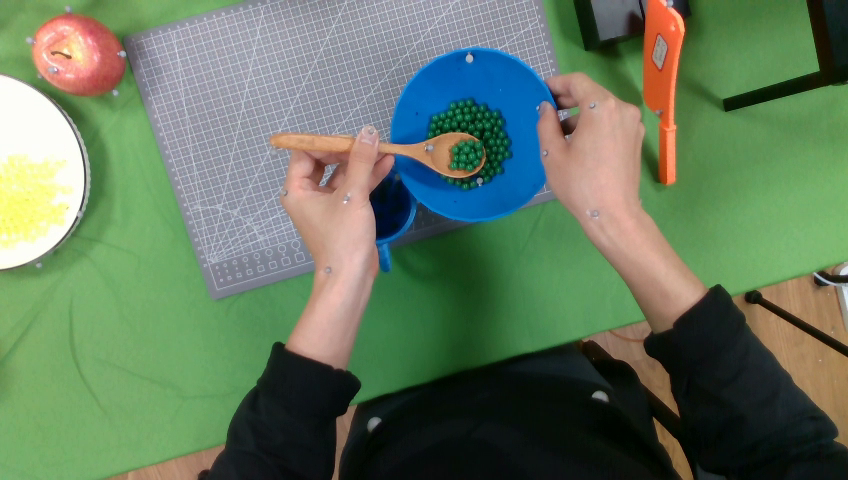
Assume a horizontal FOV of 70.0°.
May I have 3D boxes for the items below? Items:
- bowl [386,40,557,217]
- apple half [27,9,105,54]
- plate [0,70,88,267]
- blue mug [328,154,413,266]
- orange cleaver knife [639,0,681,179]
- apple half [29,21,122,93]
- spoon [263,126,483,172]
[{"bbox_3d":[0.047,-0.100,0.562,0.151,0.077,0.151,1,99,10],"label":"bowl"},{"bbox_3d":[-0.367,-0.212,0.614,0.081,0.081,0.033,-31,102,0],"label":"apple half"},{"bbox_3d":[-0.459,-0.076,0.640,0.209,0.038,0.209,0,96,-4],"label":"plate"},{"bbox_3d":[-0.052,-0.030,0.637,0.082,0.105,0.116,-9,96,-3],"label":"blue mug"},{"bbox_3d":[0.252,-0.166,0.656,0.012,0.076,0.213,-18,128,-3],"label":"orange cleaver knife"},{"bbox_3d":[-0.347,-0.179,0.620,0.081,0.074,0.053,-32,101,-4],"label":"apple half"},{"bbox_3d":[-0.037,-0.083,0.514,0.195,0.021,0.041,0,96,-29],"label":"spoon"}]
